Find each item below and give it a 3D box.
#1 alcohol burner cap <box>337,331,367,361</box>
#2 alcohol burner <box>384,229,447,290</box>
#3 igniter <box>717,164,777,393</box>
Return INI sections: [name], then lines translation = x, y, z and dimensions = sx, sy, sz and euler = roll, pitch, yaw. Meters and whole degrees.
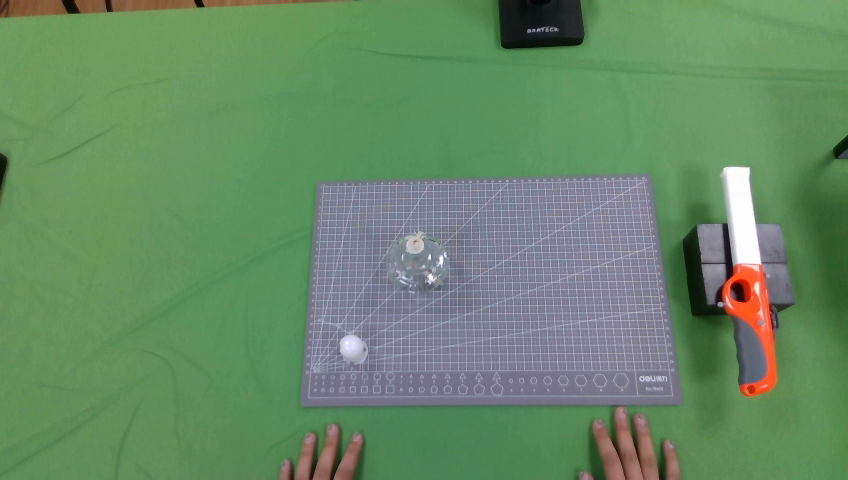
[alcohol burner cap]
translation = -0.088, 0.126, 0.726
dimensions = 0.034, 0.048, 0.033
euler = -1, 69, 4
[alcohol burner]
translation = -0.011, 0.018, 0.723
dimensions = 0.078, 0.120, 0.077
euler = 0, 69, 1
[igniter]
translation = 0.368, 0.037, 0.698
dimensions = 0.057, 0.025, 0.274
euler = 3, 68, 7
